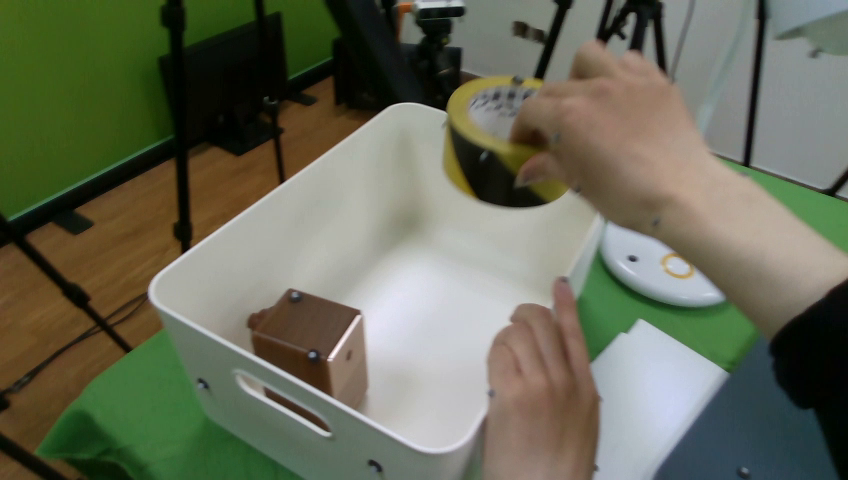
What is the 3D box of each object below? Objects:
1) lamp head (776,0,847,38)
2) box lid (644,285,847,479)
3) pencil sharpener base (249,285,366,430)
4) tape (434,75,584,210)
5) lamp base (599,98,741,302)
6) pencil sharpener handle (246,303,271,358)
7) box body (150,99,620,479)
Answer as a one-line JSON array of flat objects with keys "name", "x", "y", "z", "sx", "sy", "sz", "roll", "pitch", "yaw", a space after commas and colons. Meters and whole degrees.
[{"name": "lamp head", "x": 0.313, "y": -0.222, "z": 0.446, "sx": 0.112, "sy": 0.123, "sz": 0.112, "roll": -12, "pitch": 0, "yaw": 0}, {"name": "box lid", "x": 0.390, "y": 0.187, "z": 0.531, "sx": 0.261, "sy": 0.015, "sz": 0.371, "roll": 34, "pitch": 49, "yaw": 31}, {"name": "pencil sharpener base", "x": -0.097, "y": 0.100, "z": 0.511, "sx": 0.076, "sy": 0.108, "sz": 0.061, "roll": 16, "pitch": 43, "yaw": 16}, {"name": "tape", "x": 0.067, "y": -0.080, "z": 0.487, "sx": 0.117, "sy": 0.053, "sz": 0.115, "roll": 3, "pitch": 46, "yaw": -2}, {"name": "lamp base", "x": 0.291, "y": -0.053, "z": 0.672, "sx": 0.160, "sy": 0.182, "sz": 0.177, "roll": 4, "pitch": 38, "yaw": 1}, {"name": "pencil sharpener handle", "x": -0.147, "y": 0.080, "z": 0.509, "sx": 0.030, "sy": 0.068, "sz": 0.036, "roll": 17, "pitch": 12, "yaw": 16}, {"name": "box body", "x": -0.009, "y": 0.041, "z": 0.554, "sx": 0.252, "sy": 0.162, "sz": 0.363, "roll": 23, "pitch": 44, "yaw": 20}]
